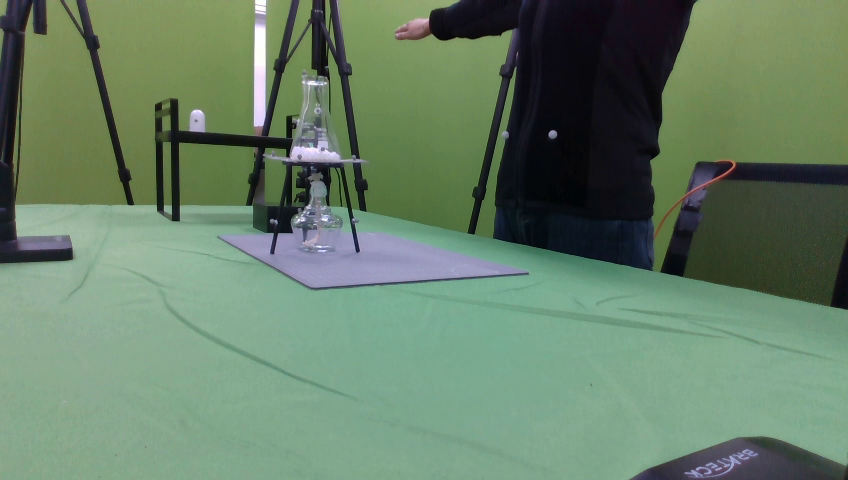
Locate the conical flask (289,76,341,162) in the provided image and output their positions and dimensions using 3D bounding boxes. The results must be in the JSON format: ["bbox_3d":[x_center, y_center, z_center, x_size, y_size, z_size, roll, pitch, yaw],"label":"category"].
[{"bbox_3d":[-0.159,-0.175,0.882,0.075,0.122,0.075,1,9,0],"label":"conical flask"}]

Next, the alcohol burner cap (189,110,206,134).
[{"bbox_3d":[-0.464,-0.242,1.240,0.034,0.048,0.034,3,6,0],"label":"alcohol burner cap"}]

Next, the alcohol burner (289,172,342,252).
[{"bbox_3d":[-0.160,-0.042,0.899,0.078,0.119,0.078,4,9,0],"label":"alcohol burner"}]

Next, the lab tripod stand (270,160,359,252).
[{"bbox_3d":[-0.167,-0.051,0.892,0.148,0.131,0.148,4,9,0],"label":"lab tripod stand"}]

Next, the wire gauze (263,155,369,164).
[{"bbox_3d":[-0.160,-0.116,0.888,0.122,0.011,0.124,-1,6,-32],"label":"wire gauze"}]
